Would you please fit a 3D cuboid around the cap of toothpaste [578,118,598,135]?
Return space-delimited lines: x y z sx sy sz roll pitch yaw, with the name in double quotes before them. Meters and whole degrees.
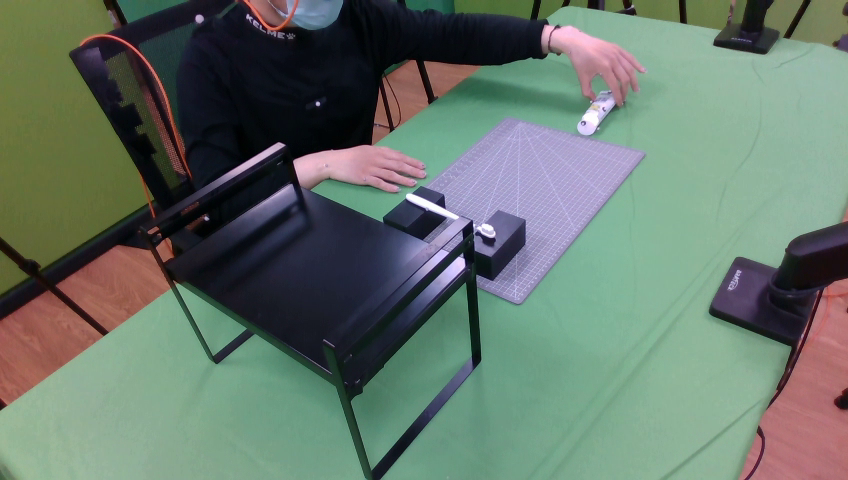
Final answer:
"cap of toothpaste" 0.318 -0.221 1.171 0.037 0.037 0.011 11 45 20

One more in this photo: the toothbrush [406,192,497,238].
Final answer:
"toothbrush" 0.038 -0.043 0.937 0.180 0.017 0.014 26 64 35

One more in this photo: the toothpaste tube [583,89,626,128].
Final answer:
"toothpaste tube" 0.359 -0.268 1.222 0.054 0.035 0.165 11 42 30
